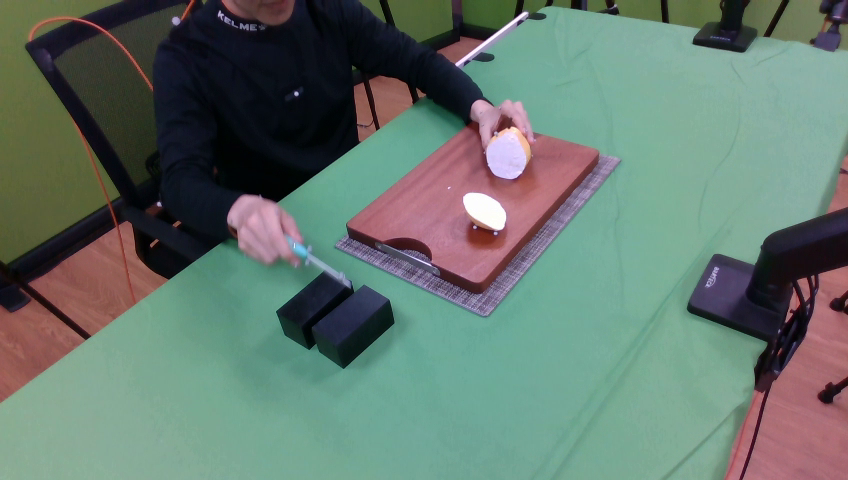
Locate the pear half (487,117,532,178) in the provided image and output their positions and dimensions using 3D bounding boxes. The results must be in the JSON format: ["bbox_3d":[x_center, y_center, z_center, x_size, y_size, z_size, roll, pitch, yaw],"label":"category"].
[{"bbox_3d":[0.149,-0.165,1.028,0.076,0.110,0.056,14,43,13],"label":"pear half"}]

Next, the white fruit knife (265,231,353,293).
[{"bbox_3d":[-0.153,0.026,0.786,0.205,0.027,0.016,26,67,42],"label":"white fruit knife"}]

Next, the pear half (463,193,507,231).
[{"bbox_3d":[0.094,-0.038,0.947,0.071,0.031,0.087,-9,52,-25],"label":"pear half"}]
